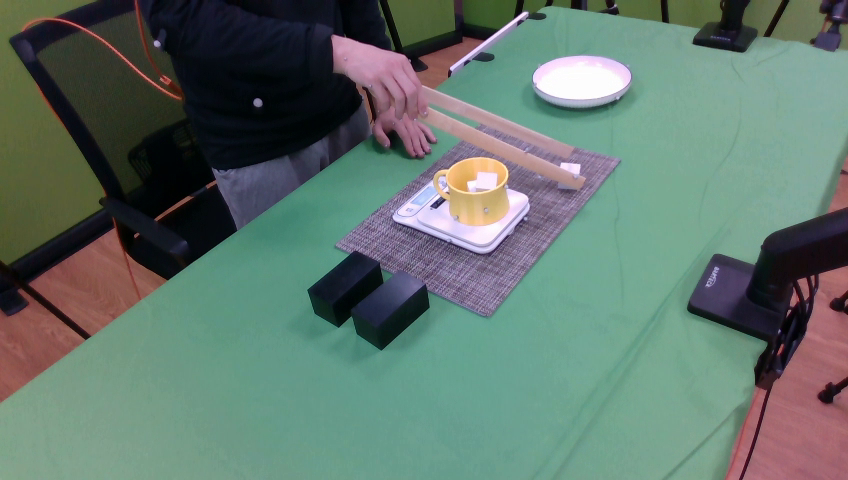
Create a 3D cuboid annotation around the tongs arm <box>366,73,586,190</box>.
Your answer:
[{"bbox_3d":[0.089,-0.171,0.972,0.387,0.026,0.050,20,37,-15],"label":"tongs arm"}]

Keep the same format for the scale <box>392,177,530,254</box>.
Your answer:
[{"bbox_3d":[0.060,-0.050,1.006,0.199,0.032,0.149,22,48,30],"label":"scale"}]

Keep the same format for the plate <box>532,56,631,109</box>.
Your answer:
[{"bbox_3d":[0.336,-0.336,1.301,0.207,0.039,0.206,-4,41,4],"label":"plate"}]

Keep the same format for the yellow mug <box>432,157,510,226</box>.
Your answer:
[{"bbox_3d":[0.072,-0.082,0.968,0.130,0.064,0.100,13,45,24],"label":"yellow mug"}]

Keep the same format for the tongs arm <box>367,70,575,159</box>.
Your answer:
[{"bbox_3d":[0.089,-0.206,1.018,0.390,0.027,0.028,17,41,-20],"label":"tongs arm"}]
